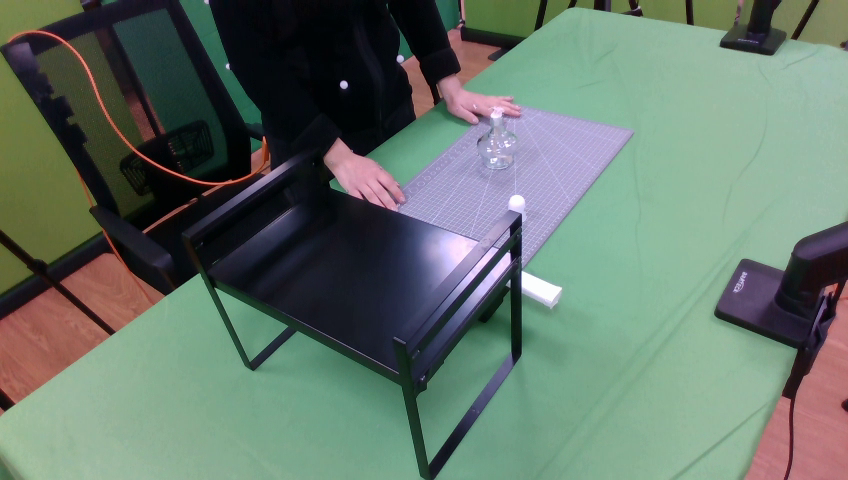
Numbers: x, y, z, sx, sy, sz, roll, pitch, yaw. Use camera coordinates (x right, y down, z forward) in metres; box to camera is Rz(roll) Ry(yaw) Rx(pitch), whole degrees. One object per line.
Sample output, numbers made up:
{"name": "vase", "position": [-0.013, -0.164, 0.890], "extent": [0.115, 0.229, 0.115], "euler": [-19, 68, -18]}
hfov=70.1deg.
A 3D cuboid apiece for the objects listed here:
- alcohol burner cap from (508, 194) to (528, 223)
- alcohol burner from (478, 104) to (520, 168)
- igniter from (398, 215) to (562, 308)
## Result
{"name": "alcohol burner cap", "position": [0.155, -0.053, 0.996], "extent": [0.034, 0.048, 0.033], "euler": [-4, 39, 4]}
{"name": "alcohol burner", "position": [0.136, -0.193, 1.106], "extent": [0.078, 0.119, 0.077], "euler": [-5, 39, 4]}
{"name": "igniter", "position": [0.068, 0.024, 0.863], "extent": [0.274, 0.025, 0.057], "euler": [26, 50, 29]}
